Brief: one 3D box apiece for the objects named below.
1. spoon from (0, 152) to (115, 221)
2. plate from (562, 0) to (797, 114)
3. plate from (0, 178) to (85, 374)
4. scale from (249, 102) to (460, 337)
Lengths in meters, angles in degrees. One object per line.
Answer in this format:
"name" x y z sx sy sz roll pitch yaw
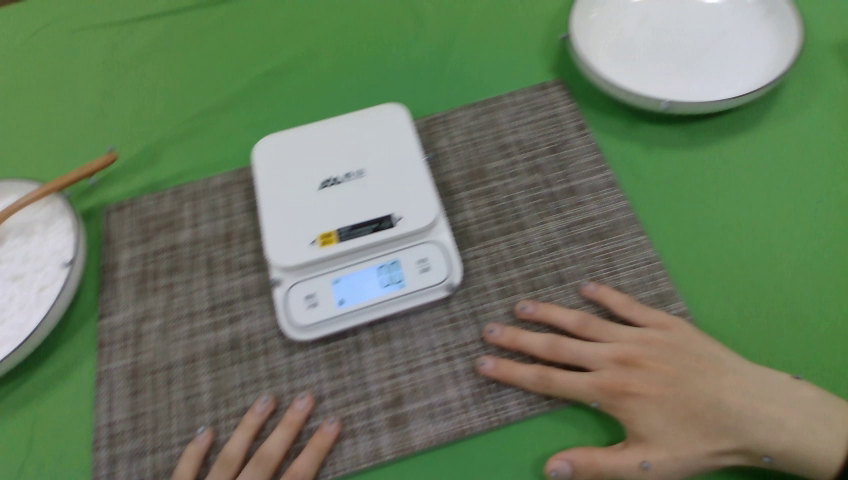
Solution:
"spoon" -0.362 -0.026 0.535 0.194 0.022 0.041 -33 60 -4
"plate" 0.236 -0.194 0.578 0.207 0.039 0.205 -3 58 6
"plate" -0.389 0.040 0.517 0.209 0.038 0.207 -3 59 5
"scale" -0.065 -0.026 0.514 0.149 0.032 0.199 -17 59 -3
